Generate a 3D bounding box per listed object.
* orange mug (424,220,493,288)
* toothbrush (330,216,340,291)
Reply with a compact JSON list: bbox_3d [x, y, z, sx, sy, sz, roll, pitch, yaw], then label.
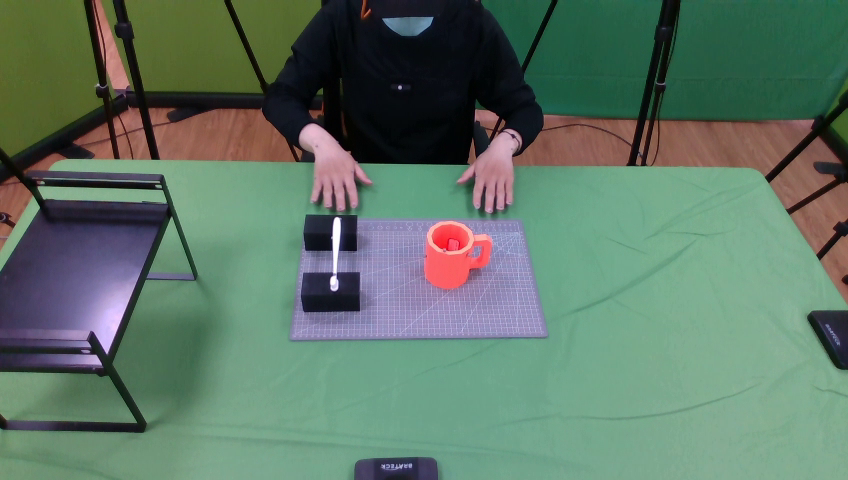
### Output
[{"bbox_3d":[0.064,0.023,1.119,0.126,0.101,0.083,-9,47,-7],"label":"orange mug"},{"bbox_3d":[-0.161,0.019,1.094,0.014,0.017,0.180,-12,45,6],"label":"toothbrush"}]
